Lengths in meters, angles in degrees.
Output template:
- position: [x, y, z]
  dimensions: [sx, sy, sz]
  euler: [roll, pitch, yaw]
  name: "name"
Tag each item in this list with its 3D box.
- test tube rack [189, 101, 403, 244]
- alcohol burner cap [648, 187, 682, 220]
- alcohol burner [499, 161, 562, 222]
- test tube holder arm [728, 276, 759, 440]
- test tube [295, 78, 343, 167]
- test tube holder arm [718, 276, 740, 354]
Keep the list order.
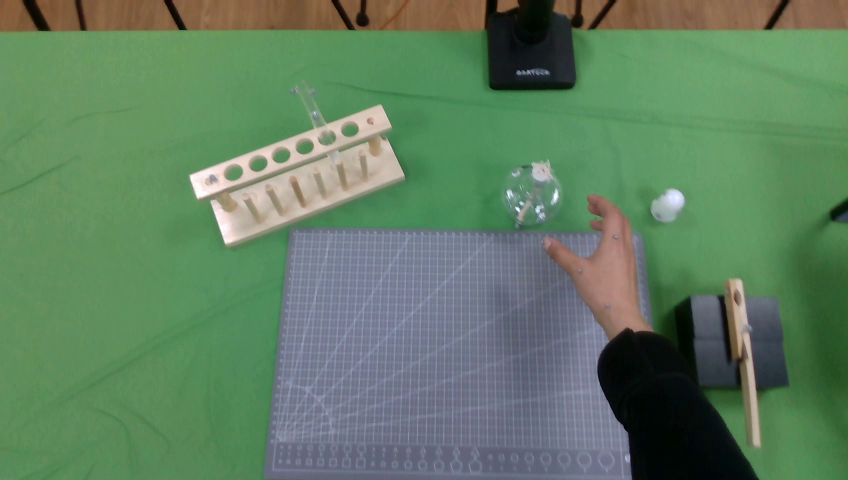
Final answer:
- position: [-0.152, -0.082, 0.754]
  dimensions: [0.242, 0.086, 0.066]
  euler: [-22, 71, -7]
  name: "test tube rack"
- position: [0.307, -0.048, 0.766]
  dimensions: [0.034, 0.048, 0.033]
  euler: [0, 70, 2]
  name: "alcohol burner cap"
- position: [0.132, -0.067, 0.735]
  dimensions: [0.078, 0.120, 0.077]
  euler: [0, 72, 0]
  name: "alcohol burner"
- position: [0.350, 0.127, 0.667]
  dimensions: [0.013, 0.015, 0.177]
  euler: [-1, 72, 0]
  name: "test tube holder arm"
- position: [-0.122, -0.134, 0.718]
  dimensions: [0.017, 0.151, 0.017]
  euler: [-4, 60, 7]
  name: "test tube"
- position: [0.344, 0.084, 0.681]
  dimensions: [0.010, 0.015, 0.087]
  euler: [0, 72, 0]
  name: "test tube holder arm"
